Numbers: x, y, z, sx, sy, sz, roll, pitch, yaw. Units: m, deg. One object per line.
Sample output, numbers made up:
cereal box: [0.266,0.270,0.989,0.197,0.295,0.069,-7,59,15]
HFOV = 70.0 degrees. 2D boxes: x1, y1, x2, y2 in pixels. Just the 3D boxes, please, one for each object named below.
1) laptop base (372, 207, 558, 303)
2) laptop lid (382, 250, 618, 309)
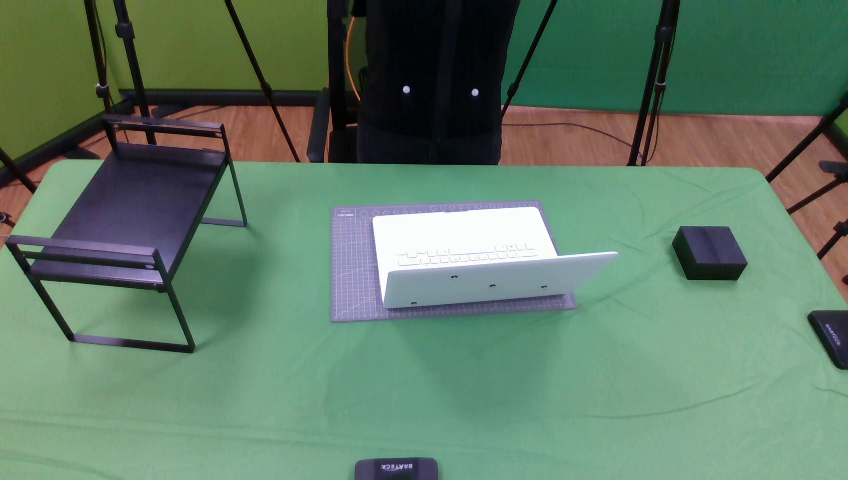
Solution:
laptop base: [0.083,0.027,1.178,0.355,0.023,0.234,-4,43,-8]
laptop lid: [0.110,0.070,0.989,0.357,0.242,0.013,-4,70,-9]
